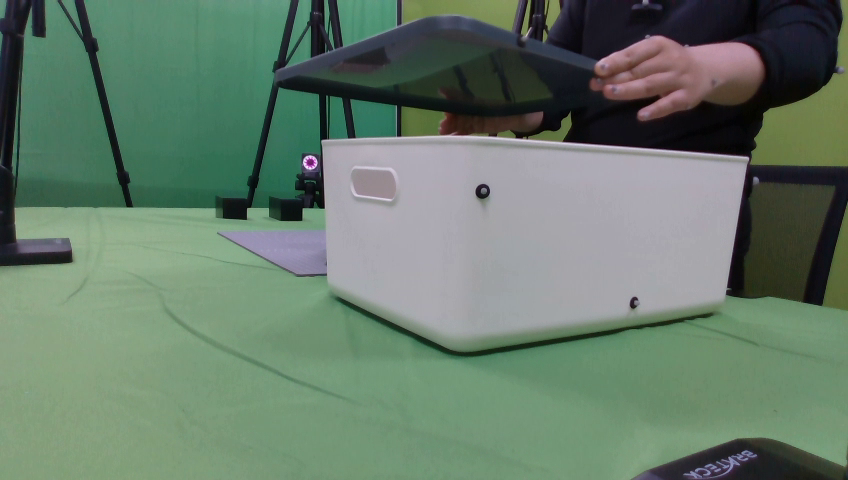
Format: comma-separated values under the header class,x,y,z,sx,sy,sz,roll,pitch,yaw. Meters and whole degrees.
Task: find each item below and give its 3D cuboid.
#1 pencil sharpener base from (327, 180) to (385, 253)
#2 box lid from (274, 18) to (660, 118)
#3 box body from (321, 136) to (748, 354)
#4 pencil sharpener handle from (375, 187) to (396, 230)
class,x,y,z,sx,sy,sz,roll,pitch,yaw
pencil sharpener base,-0.103,-0.037,0.932,0.077,0.107,0.061,-1,8,-30
box lid,0.055,-0.166,0.649,0.374,0.015,0.262,-4,3,-44
box body,0.105,-0.011,0.604,0.366,0.160,0.253,-2,8,-33
pencil sharpener handle,-0.059,-0.050,0.958,0.031,0.067,0.036,-1,13,-30
